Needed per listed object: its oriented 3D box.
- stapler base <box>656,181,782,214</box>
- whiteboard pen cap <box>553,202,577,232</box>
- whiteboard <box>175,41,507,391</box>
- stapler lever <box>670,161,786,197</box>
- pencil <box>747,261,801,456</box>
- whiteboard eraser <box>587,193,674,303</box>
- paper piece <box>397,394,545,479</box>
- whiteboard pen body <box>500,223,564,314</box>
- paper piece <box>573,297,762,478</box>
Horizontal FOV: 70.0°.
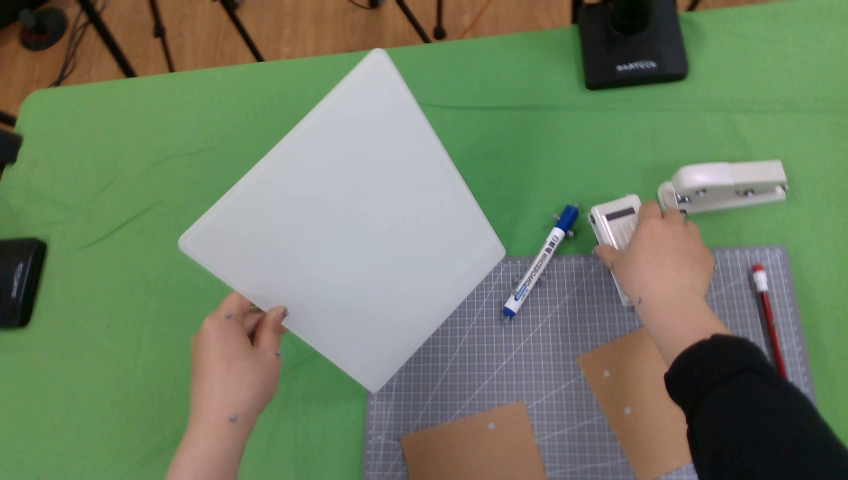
[{"bbox_3d":[0.326,-0.058,0.666,0.130,0.024,0.041,-8,72,5],"label":"stapler base"},{"bbox_3d":[0.158,-0.026,0.682,0.018,0.018,0.033,28,75,18],"label":"whiteboard pen cap"},{"bbox_3d":[-0.082,-0.026,0.605,0.217,0.309,0.142,-45,48,-7],"label":"whiteboard"},{"bbox_3d":[0.324,-0.066,0.644,0.118,0.040,0.026,-8,71,6],"label":"stapler lever"},{"bbox_3d":[0.349,0.114,0.603,0.012,0.012,0.192,-7,71,8],"label":"pencil"},{"bbox_3d":[0.219,0.009,0.648,0.055,0.042,0.112,-18,68,6],"label":"whiteboard eraser"},{"bbox_3d":[0.051,0.238,0.609,0.135,0.004,0.134,-17,67,6],"label":"paper piece"},{"bbox_3d":[0.126,0.021,0.672,0.017,0.017,0.140,30,77,19],"label":"whiteboard pen body"},{"bbox_3d":[0.242,0.147,0.611,0.136,0.009,0.137,-25,70,5],"label":"paper piece"}]
